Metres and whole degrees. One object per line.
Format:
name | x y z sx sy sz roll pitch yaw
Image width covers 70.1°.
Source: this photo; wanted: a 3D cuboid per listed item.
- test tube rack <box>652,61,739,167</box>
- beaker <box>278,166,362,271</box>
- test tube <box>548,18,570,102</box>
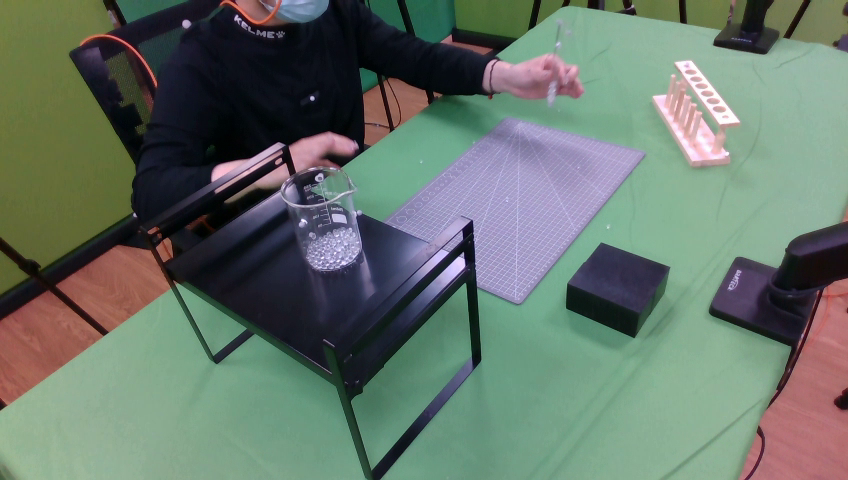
test tube rack | 0.499 -0.242 1.130 0.067 0.085 0.241 -5 41 4
beaker | -0.109 -0.022 0.675 0.084 0.101 0.073 -2 41 5
test tube | 0.230 -0.304 1.037 0.017 0.151 0.017 1 42 0
